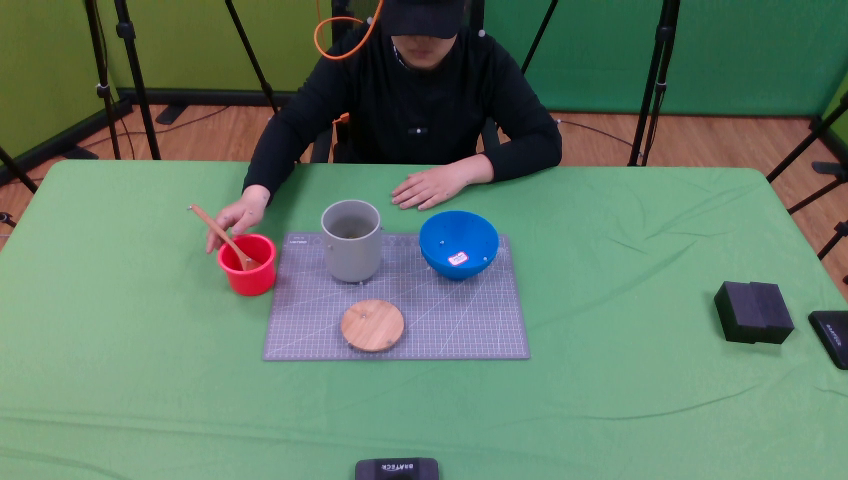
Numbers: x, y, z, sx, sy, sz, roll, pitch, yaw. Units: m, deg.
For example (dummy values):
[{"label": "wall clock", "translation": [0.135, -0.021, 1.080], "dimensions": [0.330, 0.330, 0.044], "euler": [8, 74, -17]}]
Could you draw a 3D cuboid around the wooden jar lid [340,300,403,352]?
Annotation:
[{"label": "wooden jar lid", "translation": [-0.090, 0.150, 1.046], "dimensions": [0.108, 0.021, 0.107], "euler": [3, 47, -3]}]

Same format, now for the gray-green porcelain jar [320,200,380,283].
[{"label": "gray-green porcelain jar", "translation": [-0.132, 0.007, 1.106], "dimensions": [0.106, 0.127, 0.105], "euler": [2, 46, -2]}]

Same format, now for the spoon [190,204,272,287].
[{"label": "spoon", "translation": [-0.344, 0.008, 1.080], "dimensions": [0.194, 0.021, 0.041], "euler": [53, 53, -16]}]

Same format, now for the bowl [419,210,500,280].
[{"label": "bowl", "translation": [0.062, 0.022, 1.140], "dimensions": [0.151, 0.077, 0.150], "euler": [2, 46, -2]}]
